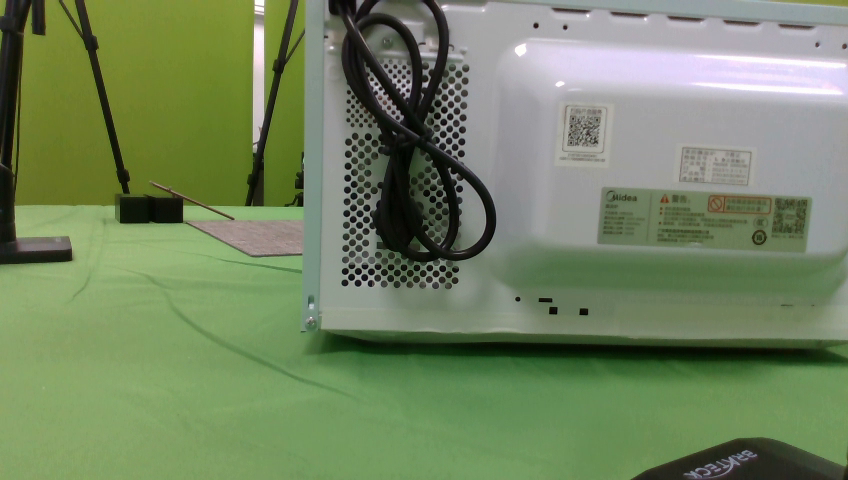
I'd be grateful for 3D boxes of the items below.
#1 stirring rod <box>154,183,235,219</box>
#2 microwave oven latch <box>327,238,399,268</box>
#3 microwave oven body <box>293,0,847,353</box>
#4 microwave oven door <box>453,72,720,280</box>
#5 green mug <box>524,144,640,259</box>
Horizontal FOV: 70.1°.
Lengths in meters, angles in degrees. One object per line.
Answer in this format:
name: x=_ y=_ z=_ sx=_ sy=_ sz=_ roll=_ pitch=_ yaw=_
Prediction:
stirring rod: x=-0.472 y=-0.079 z=1.252 sx=0.177 sy=0.006 sz=0.014 roll=27 pitch=3 yaw=-35
microwave oven latch: x=-0.069 y=0.015 z=0.694 sx=0.079 sy=0.029 sz=0.030 roll=3 pitch=7 yaw=-3
microwave oven body: x=0.122 y=-0.055 z=0.550 sx=0.442 sy=0.260 sz=0.325 roll=3 pitch=7 yaw=-5
microwave oven door: x=0.196 y=-0.092 z=0.815 sx=0.354 sy=0.243 sz=0.039 roll=8 pitch=9 yaw=39
green mug: x=0.152 y=-0.040 z=0.599 sx=0.093 sy=0.105 sz=0.124 roll=-4 pitch=11 yaw=-44
